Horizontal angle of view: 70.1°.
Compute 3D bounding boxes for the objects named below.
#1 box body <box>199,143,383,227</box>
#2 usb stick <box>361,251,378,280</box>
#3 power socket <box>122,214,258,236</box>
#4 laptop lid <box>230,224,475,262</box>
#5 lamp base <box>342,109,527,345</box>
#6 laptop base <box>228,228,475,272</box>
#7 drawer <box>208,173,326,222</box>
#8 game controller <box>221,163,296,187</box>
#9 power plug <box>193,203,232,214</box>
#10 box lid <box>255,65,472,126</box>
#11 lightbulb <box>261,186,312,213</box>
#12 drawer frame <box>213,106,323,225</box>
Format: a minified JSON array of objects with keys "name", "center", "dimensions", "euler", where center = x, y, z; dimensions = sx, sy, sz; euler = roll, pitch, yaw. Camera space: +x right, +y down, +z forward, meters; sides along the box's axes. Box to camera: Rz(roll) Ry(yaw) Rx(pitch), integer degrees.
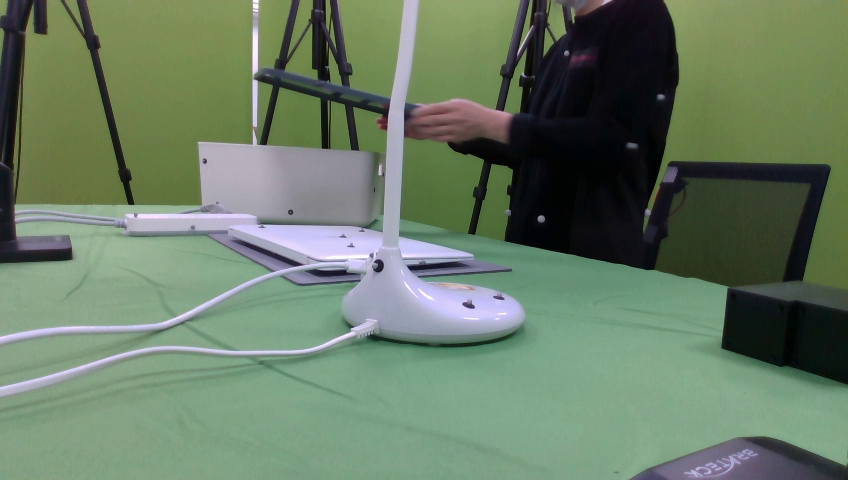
[{"name":"box body","center":[-0.276,-0.124,1.334],"dimensions":[0.364,0.160,0.254],"euler":[3,7,1]},{"name":"usb stick","center":[-0.052,0.033,0.656],"dimensions":[0.027,0.021,0.059],"euler":[4,-27,-20]},{"name":"power socket","center":[-0.399,-0.028,1.049],"dimensions":[0.228,0.032,0.072],"euler":[-3,8,-34]},{"name":"laptop lid","center":[-0.120,0.000,0.889],"dimensions":[0.243,0.013,0.355],"euler":[1,7,-33]},{"name":"lamp base","center":[0.006,-0.015,0.505],"dimensions":[0.160,0.180,0.180],"euler":[6,11,29]},{"name":"laptop base","center":[-0.122,0.011,0.889],"dimensions":[0.237,0.023,0.352],"euler":[1,6,-35]},{"name":"drawer","center":[-0.335,-0.099,1.327],"dimensions":[0.212,0.073,0.194],"euler":[8,11,-1]},{"name":"game controller","center":[-0.362,-0.141,1.315],"dimensions":[0.156,0.051,0.096],"euler":[-1,5,-23]},{"name":"power plug","center":[-0.394,-0.042,1.139],"dimensions":[0.072,0.052,0.035],"euler":[-13,2,31]},{"name":"box lid","center":[-0.119,-0.261,1.127],"dimensions":[0.373,0.015,0.262],"euler":[10,7,-23]},{"name":"lightbulb","center":[-0.294,-0.082,1.293],"dimensions":[0.108,0.059,0.059],"euler":[-14,13,-19]},{"name":"drawer frame","center":[-0.316,-0.142,1.308],"dimensions":[0.082,0.213,0.202],"euler":[22,-17,31]}]
